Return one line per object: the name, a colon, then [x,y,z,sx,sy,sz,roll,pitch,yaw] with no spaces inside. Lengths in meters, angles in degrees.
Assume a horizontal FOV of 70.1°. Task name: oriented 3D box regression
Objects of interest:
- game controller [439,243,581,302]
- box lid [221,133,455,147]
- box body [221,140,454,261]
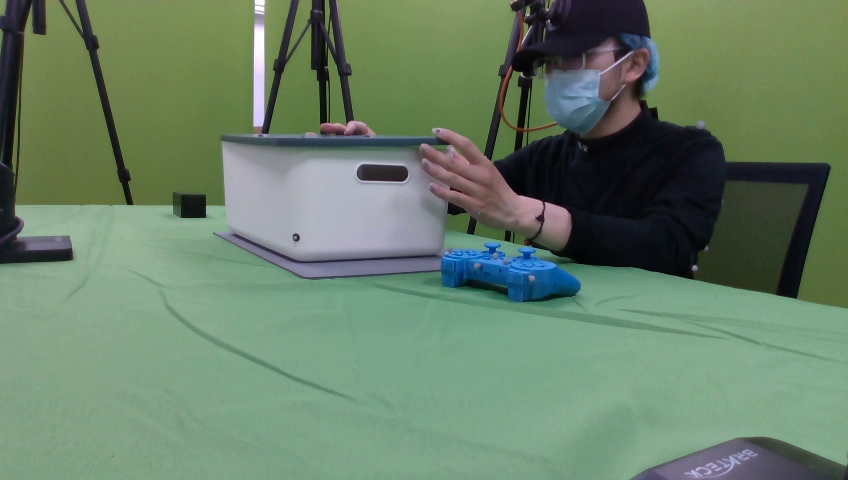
game controller: [0.090,0.033,0.686,0.154,0.051,0.097,8,13,42]
box lid: [-0.148,-0.156,0.938,0.265,0.015,0.369,-7,12,-29]
box body: [-0.152,-0.074,0.963,0.255,0.160,0.362,-3,9,-33]
